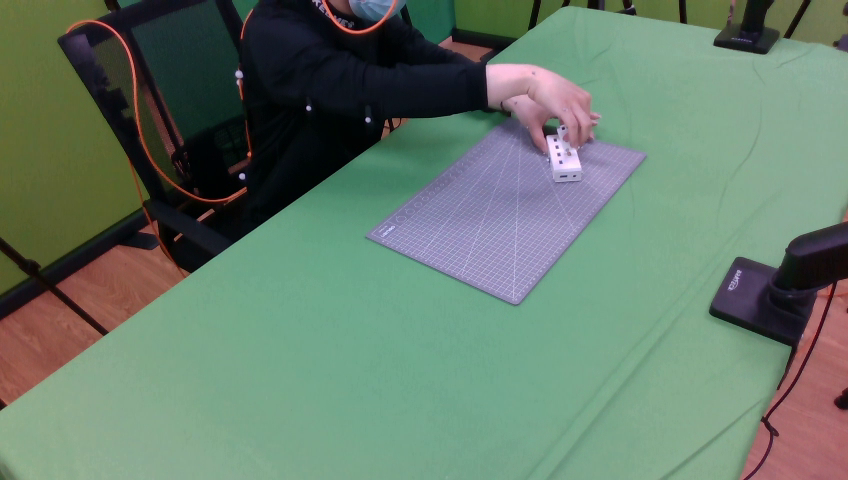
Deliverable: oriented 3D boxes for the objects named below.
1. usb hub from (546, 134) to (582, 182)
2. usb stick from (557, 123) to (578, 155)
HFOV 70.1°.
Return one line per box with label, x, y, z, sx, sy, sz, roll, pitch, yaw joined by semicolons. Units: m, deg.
usb hub;0.255;-0.152;1.103;0.049;0.025;0.124;-3;41;5
usb stick;0.257;-0.176;1.074;0.027;0.059;0.021;-16;37;12
